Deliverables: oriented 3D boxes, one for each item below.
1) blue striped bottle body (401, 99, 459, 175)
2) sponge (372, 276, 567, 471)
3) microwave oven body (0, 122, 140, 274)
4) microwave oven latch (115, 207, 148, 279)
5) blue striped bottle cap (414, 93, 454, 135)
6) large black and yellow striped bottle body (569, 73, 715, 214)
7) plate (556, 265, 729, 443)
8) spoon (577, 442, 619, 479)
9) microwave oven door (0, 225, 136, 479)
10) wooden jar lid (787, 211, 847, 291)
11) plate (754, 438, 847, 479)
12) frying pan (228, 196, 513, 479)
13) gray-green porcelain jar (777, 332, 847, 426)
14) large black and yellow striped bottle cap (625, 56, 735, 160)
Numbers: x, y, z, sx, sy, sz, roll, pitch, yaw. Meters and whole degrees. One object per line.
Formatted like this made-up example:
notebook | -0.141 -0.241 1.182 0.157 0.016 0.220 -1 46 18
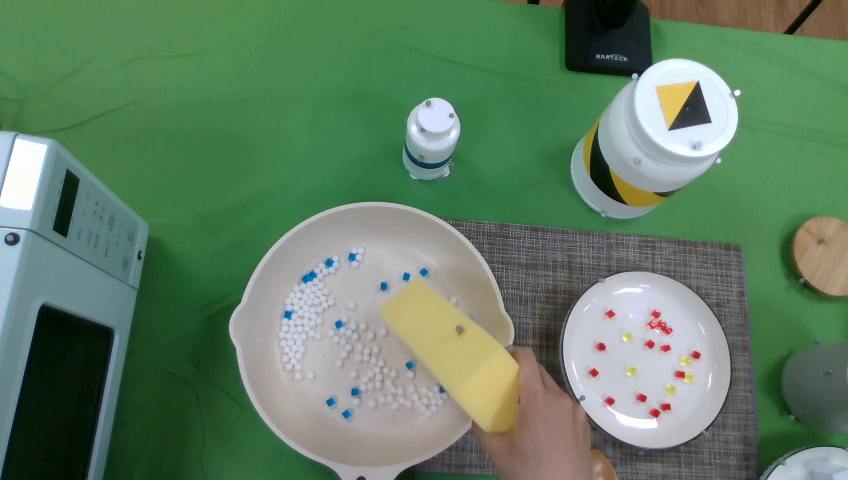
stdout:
blue striped bottle body | 0.007 -0.128 0.727 0.063 0.121 0.062 2 75 -6
sponge | 0.035 0.122 0.602 0.061 0.205 0.119 -43 116 -8
microwave oven body | -0.482 0.134 0.529 0.326 0.261 0.439 5 76 -5
microwave oven latch | -0.332 0.002 0.679 0.030 0.029 0.079 8 75 -5
blue striped bottle cap | 0.011 -0.141 0.678 0.044 0.021 0.044 2 72 -4
large black and yellow striped bottle body | 0.262 -0.118 0.721 0.131 0.184 0.130 2 75 -5
plate | 0.258 0.134 0.727 0.209 0.038 0.208 1 76 -5
spoon | 0.243 0.308 0.690 0.193 0.022 0.041 45 58 5
microwave oven door | -0.340 0.187 0.526 0.039 0.244 0.354 5 75 -5
wooden jar lid | 0.531 0.016 0.801 0.108 0.021 0.108 1 77 -5
plate | 0.468 0.337 0.703 0.208 0.039 0.206 2 75 -6
frying pan | -0.061 0.192 0.643 0.307 0.103 0.484 3 67 -3
gray-green porcelain jar | 0.490 0.162 0.704 0.106 0.127 0.105 2 75 -6
large black and yellow striped bottle cap | 0.270 -0.140 0.639 0.115 0.019 0.114 2 74 -5
